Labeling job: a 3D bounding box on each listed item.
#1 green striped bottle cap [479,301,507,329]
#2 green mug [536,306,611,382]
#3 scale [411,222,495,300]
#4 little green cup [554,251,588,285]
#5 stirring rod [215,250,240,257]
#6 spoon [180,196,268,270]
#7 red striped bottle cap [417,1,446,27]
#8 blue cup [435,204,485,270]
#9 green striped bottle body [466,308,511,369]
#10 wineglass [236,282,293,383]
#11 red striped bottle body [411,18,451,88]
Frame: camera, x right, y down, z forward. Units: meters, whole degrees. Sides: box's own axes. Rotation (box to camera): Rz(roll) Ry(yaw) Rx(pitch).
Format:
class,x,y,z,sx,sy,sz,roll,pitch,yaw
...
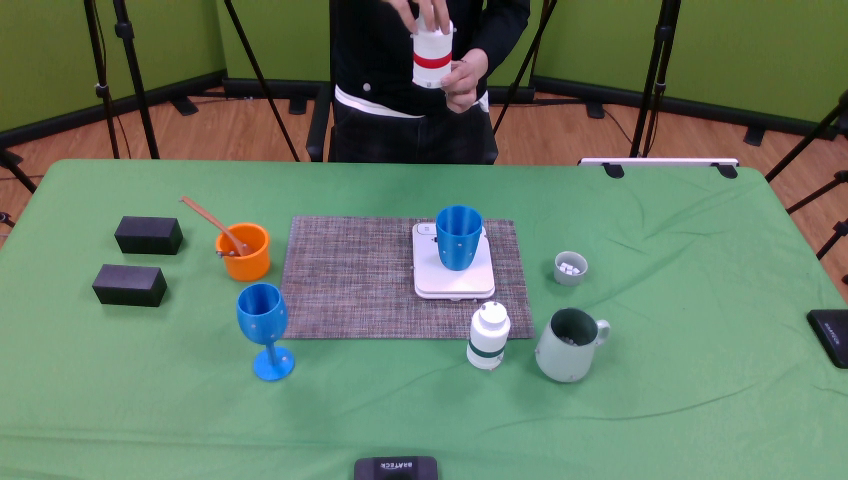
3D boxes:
class,x,y,z,sx,sy,sz,roll,pitch,yaw
green striped bottle cap,0.109,0.118,0.950,0.044,0.020,0.044,2,47,-2
green mug,0.250,0.167,0.996,0.125,0.105,0.092,-15,48,-19
scale,0.052,0.031,1.158,0.149,0.032,0.199,1,46,-4
little green cup,0.276,0.055,1.151,0.061,0.039,0.061,1,46,-1
stirring rod,-0.339,0.024,1.059,0.014,0.176,0.006,16,86,-6
spoon,-0.359,-0.013,1.094,0.021,0.194,0.041,-28,26,32
red striped bottle cap,0.011,-0.344,0.922,0.044,0.018,0.044,0,58,1
blue cup,0.061,0.001,1.097,0.092,0.101,0.092,0,44,0
green striped bottle body,0.106,0.154,0.988,0.063,0.120,0.063,2,46,-2
wineglass,-0.243,0.143,0.934,0.074,0.173,0.073,2,46,-2
red striped bottle body,0.011,-0.309,0.964,0.063,0.120,0.062,0,50,1
